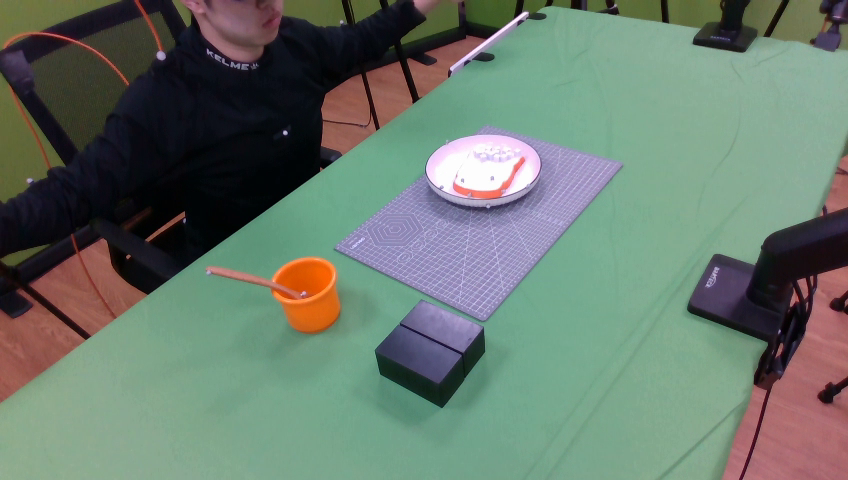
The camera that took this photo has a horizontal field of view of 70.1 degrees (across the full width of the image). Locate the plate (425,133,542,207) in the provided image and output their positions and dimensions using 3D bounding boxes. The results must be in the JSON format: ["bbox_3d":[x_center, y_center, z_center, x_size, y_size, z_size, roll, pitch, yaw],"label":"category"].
[{"bbox_3d":[0.106,-0.121,1.079,0.209,0.038,0.208,-4,41,4],"label":"plate"}]

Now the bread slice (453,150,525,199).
[{"bbox_3d":[0.112,-0.118,1.079,0.104,0.019,0.131,11,43,21],"label":"bread slice"}]

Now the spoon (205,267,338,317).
[{"bbox_3d":[-0.202,0.067,0.822,0.021,0.195,0.041,-45,38,25],"label":"spoon"}]
